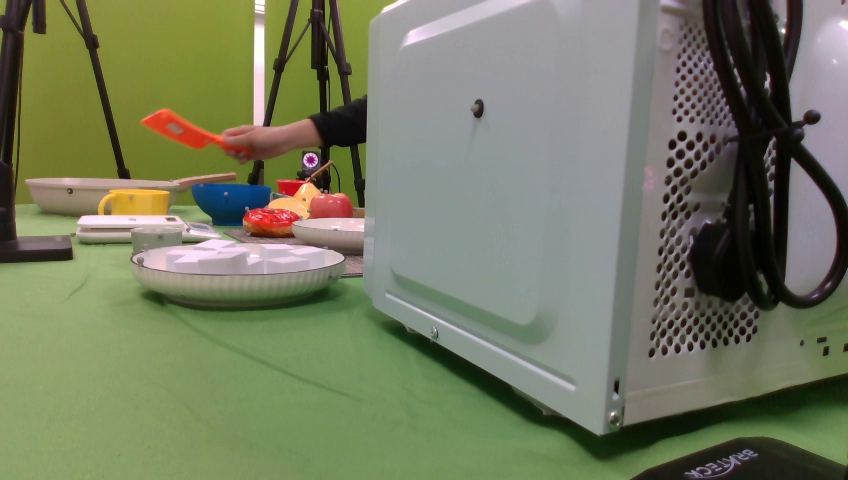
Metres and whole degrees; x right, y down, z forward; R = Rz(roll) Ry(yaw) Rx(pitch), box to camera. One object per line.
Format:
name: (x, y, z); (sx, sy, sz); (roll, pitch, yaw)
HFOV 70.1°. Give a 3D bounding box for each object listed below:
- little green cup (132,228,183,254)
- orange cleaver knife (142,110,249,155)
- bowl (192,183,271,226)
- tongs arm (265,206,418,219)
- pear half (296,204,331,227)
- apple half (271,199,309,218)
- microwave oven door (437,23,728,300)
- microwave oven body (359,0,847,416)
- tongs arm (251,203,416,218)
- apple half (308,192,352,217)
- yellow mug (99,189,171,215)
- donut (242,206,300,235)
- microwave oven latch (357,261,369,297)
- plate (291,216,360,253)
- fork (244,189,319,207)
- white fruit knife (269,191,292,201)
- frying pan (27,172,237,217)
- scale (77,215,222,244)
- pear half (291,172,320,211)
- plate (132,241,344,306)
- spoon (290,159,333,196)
little green cup: (-0.342, 0.006, 0.779); (0.061, 0.038, 0.061); (2, 8, 0)
orange cleaver knife: (-0.465, -0.211, 1.244); (0.077, 0.012, 0.212); (-26, -32, 36)
bowl: (-0.381, -0.070, 1.202); (0.151, 0.077, 0.151); (3, 7, 0)
tongs arm: (-0.173, -0.061, 1.363); (0.387, 0.026, 0.050); (-1, 4, -31)
pear half: (-0.229, -0.047, 1.260); (0.070, 0.031, 0.088); (3, 23, -6)
apple half: (-0.254, -0.039, 1.143); (0.081, 0.032, 0.081); (18, 45, -18)
microwave oven door: (0.180, -0.073, 0.621); (0.358, 0.243, 0.039); (-2, 8, -29)
microwave oven body: (0.211, -0.047, 0.474); (0.444, 0.260, 0.324); (-1, 7, -28)
tongs arm: (-0.210, -0.070, 1.439); (0.389, 0.027, 0.028); (1, 0, -17)
apple half: (-0.165, -0.050, 1.106); (0.081, 0.074, 0.053); (2, 10, -41)
yellow mug: (-0.518, -0.055, 1.080); (0.099, 0.064, 0.131); (6, 9, 26)
donut: (-0.263, -0.032, 1.039); (0.099, 0.048, 0.099); (4, 10, 0)
microwave oven latch: (-0.019, 0.033, 0.530); (0.079, 0.029, 0.030); (-1, 7, -26)
plate: (-0.103, -0.009, 0.945); (0.209, 0.038, 0.209); (2, 8, 0)
fork: (-0.355, -0.104, 1.524); (0.208, 0.018, 0.028); (15, -6, -42)
white fruit knife: (-0.364, -0.105, 1.464); (0.208, 0.027, 0.016); (15, 0, -34)
frying pan: (-0.624, -0.118, 1.387); (0.305, 0.102, 0.490); (8, 17, 32)
scale: (-0.434, -0.019, 0.963); (0.202, 0.031, 0.148); (-1, 9, -27)
pear half: (-0.228, -0.077, 1.182); (0.076, 0.110, 0.056); (-3, 7, 2)
plate: (-0.187, 0.033, 0.625); (0.208, 0.039, 0.207); (2, 7, 0)
spoon: (-0.316, -0.159, 1.640); (0.194, 0.022, 0.041); (-50, 31, -20)
